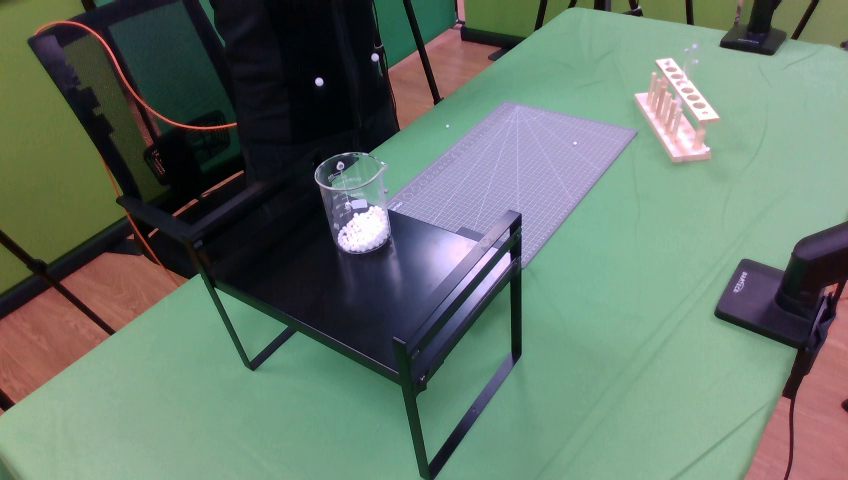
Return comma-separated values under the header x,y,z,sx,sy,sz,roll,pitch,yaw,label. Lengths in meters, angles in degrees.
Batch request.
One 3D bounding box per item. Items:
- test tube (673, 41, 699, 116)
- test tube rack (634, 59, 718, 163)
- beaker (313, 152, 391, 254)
x,y,z,sx,sy,sz,roll,pitch,yaw,label
0.483,-0.296,1.123,0.017,0.151,0.017,-2,45,2,test tube
0.470,-0.250,1.148,0.067,0.085,0.241,-6,40,3,test tube rack
-0.076,-0.041,0.697,0.084,0.101,0.073,-15,41,-10,beaker
